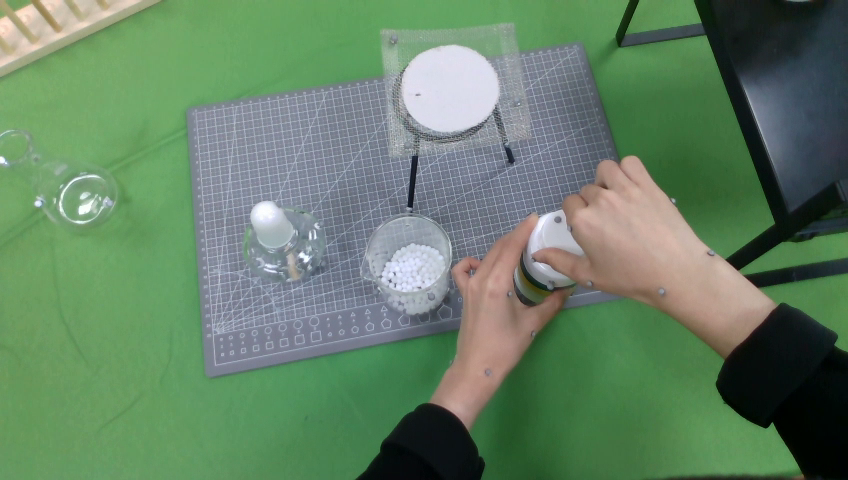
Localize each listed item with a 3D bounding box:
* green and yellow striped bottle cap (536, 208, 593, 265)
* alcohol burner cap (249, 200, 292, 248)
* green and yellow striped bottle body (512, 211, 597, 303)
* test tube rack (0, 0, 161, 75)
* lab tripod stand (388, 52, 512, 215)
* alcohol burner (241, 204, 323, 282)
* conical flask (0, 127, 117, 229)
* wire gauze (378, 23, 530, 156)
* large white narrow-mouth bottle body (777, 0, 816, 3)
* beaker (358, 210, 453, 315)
[{"bbox_3d":[0.116,-0.003,0.498,0.045,0.020,0.045,-1,74,3],"label":"green and yellow striped bottle cap"},{"bbox_3d":[-0.137,-0.017,0.531,0.034,0.048,0.033,1,64,-1],"label":"alcohol burner cap"},{"bbox_3d":[0.118,0.014,0.551,0.063,0.120,0.063,0,71,2],"label":"green and yellow striped bottle body"},{"bbox_3d":[-0.422,-0.275,0.677,0.242,0.085,0.066,-30,74,-9],"label":"test tube rack"},{"bbox_3d":[0.019,-0.107,0.586,0.148,0.132,0.147,0,70,0],"label":"lab tripod stand"},{"bbox_3d":[-0.136,-0.003,0.565,0.078,0.120,0.077,0,70,-1],"label":"alcohol burner"},{"bbox_3d":[-0.362,-0.064,0.586,0.075,0.122,0.075,0,71,1],"label":"conical flask"},{"bbox_3d":[0.024,-0.134,0.524,0.121,0.011,0.124,-5,72,-2],"label":"wire gauze"},{"bbox_3d":[0.302,-0.267,0.418,0.102,0.196,0.101,0,69,1],"label":"large white narrow-mouth bottle body"},{"bbox_3d":[-0.015,0.027,0.560,0.084,0.101,0.073,-22,72,-5],"label":"beaker"}]
